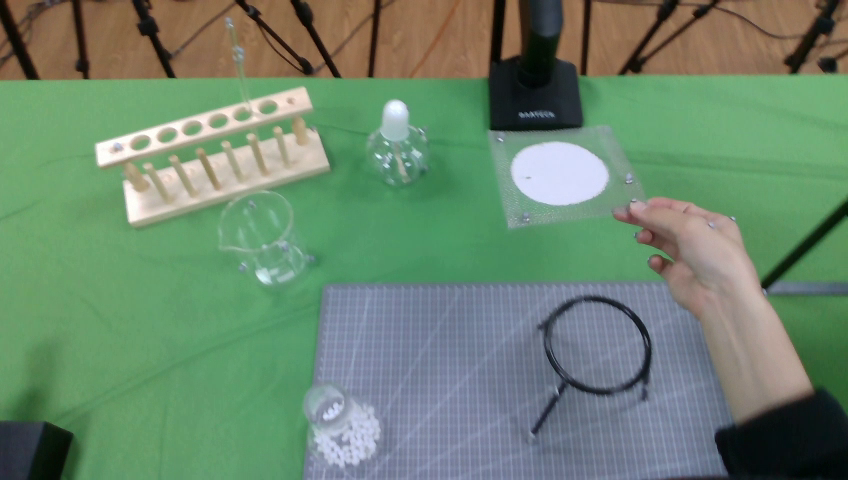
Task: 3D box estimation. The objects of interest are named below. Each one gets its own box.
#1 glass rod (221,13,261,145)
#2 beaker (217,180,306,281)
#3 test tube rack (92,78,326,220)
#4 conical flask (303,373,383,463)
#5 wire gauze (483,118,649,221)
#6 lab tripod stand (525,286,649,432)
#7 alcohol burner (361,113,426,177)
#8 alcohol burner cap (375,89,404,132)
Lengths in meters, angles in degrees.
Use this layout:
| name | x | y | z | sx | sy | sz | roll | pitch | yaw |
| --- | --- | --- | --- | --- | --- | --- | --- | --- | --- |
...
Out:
| name | x | y | z | sx | sy | sz | roll | pitch | yaw |
| --- | --- | --- | --- | --- | --- | --- | --- | --- | --- |
| glass rod | -0.201 | -0.171 | 0.679 | 0.008 | 0.201 | 0.008 | 2 | 60 | -3 |
| beaker | -0.173 | -0.004 | 0.656 | 0.084 | 0.101 | 0.073 | -39 | 67 | -18 |
| test tube rack | -0.248 | -0.108 | 0.722 | 0.242 | 0.086 | 0.066 | -18 | 63 | -9 |
| conical flask | -0.080 | 0.156 | 0.552 | 0.075 | 0.123 | 0.074 | -1 | 61 | 1 |
| wire gauze | 0.121 | -0.069 | 0.535 | 0.121 | 0.011 | 0.123 | -4 | 49 | -5 |
| lab tripod stand | 0.150 | 0.109 | 0.566 | 0.148 | 0.132 | 0.147 | 0 | 60 | 0 |
| alcohol burner | -0.037 | -0.130 | 0.714 | 0.078 | 0.120 | 0.077 | 0 | 59 | 0 |
| alcohol burner cap | -0.037 | -0.149 | 0.683 | 0.034 | 0.048 | 0.033 | 4 | 60 | -6 |
